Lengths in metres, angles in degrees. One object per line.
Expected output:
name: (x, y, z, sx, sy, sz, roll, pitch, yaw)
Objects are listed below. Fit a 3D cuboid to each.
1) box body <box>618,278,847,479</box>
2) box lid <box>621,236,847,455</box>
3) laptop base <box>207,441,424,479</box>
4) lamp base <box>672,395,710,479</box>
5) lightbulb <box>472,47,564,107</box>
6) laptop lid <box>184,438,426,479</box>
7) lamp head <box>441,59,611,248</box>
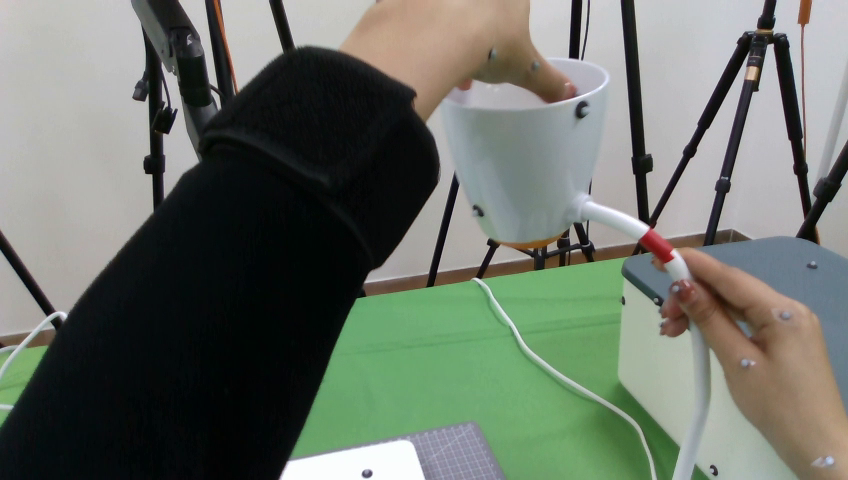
box body: (0.390, 0.152, 0.599, 0.255, 0.161, 0.360, -8, 25, -15)
box lid: (0.389, 0.083, 0.569, 0.264, 0.015, 0.367, -7, 25, -15)
laptop base: (-0.155, 0.284, 0.496, 0.355, 0.023, 0.233, -7, 28, -13)
lamp base: (0.176, 0.214, 0.443, 0.160, 0.181, 0.179, 10, 24, 21)
lightbulb: (0.065, -0.077, 0.412, 0.059, 0.109, 0.059, -7, 42, 7)
laptop lid: (-0.154, 0.274, 0.489, 0.357, 0.013, 0.239, -6, 27, -11)
lamp head: (0.075, -0.056, 0.423, 0.112, 0.124, 0.111, -9, 26, 5)
